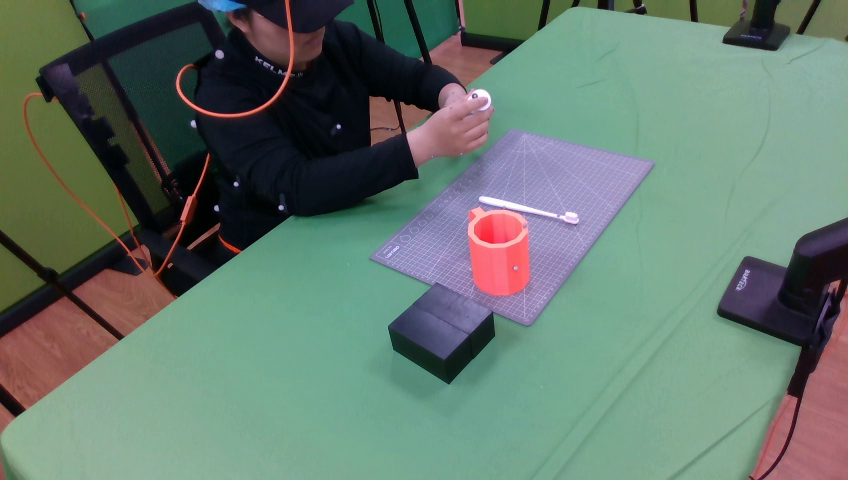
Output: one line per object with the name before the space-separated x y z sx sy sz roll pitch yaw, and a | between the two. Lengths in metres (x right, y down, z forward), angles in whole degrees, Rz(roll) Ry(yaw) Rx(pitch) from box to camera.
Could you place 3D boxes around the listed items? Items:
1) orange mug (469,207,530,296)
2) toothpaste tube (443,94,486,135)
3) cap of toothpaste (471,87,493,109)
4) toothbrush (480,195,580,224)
orange mug | 0.104 0.008 0.894 0.084 0.101 0.125 -22 46 -14
toothpaste tube | 0.077 -0.222 1.059 0.055 0.034 0.164 -30 2 -16
cap of toothpaste | 0.094 -0.231 0.984 0.037 0.037 0.011 -21 -1 -13
toothbrush | 0.175 -0.054 1.016 0.180 0.017 0.014 15 58 28
